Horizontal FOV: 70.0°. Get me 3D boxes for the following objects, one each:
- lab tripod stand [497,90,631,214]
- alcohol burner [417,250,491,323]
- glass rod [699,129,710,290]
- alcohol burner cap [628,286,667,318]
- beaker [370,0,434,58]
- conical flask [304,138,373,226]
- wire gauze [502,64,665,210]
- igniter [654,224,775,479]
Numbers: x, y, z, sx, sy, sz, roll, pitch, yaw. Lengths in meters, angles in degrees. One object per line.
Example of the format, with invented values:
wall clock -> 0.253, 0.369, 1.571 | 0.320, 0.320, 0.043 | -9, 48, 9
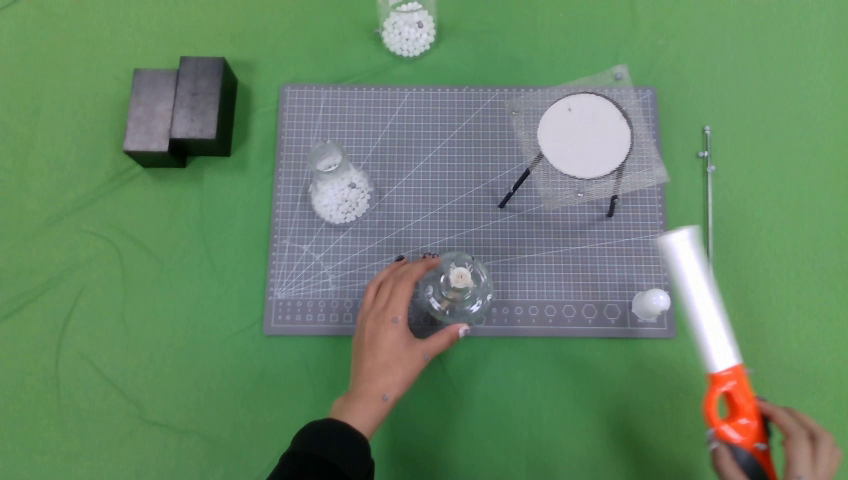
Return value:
lab tripod stand -> 0.150, -0.084, 0.637 | 0.148, 0.132, 0.147 | 0, 78, 1
alcohol burner -> 0.032, 0.045, 0.617 | 0.078, 0.119, 0.077 | 0, 76, -2
glass rod -> 0.321, -0.035, 0.693 | 0.008, 0.008, 0.198 | 5, 76, 1
alcohol burner cap -> 0.243, 0.065, 0.649 | 0.034, 0.048, 0.033 | 0, 77, -1
beaker -> -0.022, -0.266, 0.700 | 0.084, 0.100, 0.073 | -40, 80, -9
conical flask -> -0.096, -0.065, 0.638 | 0.075, 0.122, 0.075 | 0, 76, 0
wire gauze -> 0.150, -0.097, 0.571 | 0.125, 0.011, 0.121 | -16, 78, -3
igniter -> 0.262, 0.121, 0.539 | 0.057, 0.025, 0.276 | -19, 92, -13
